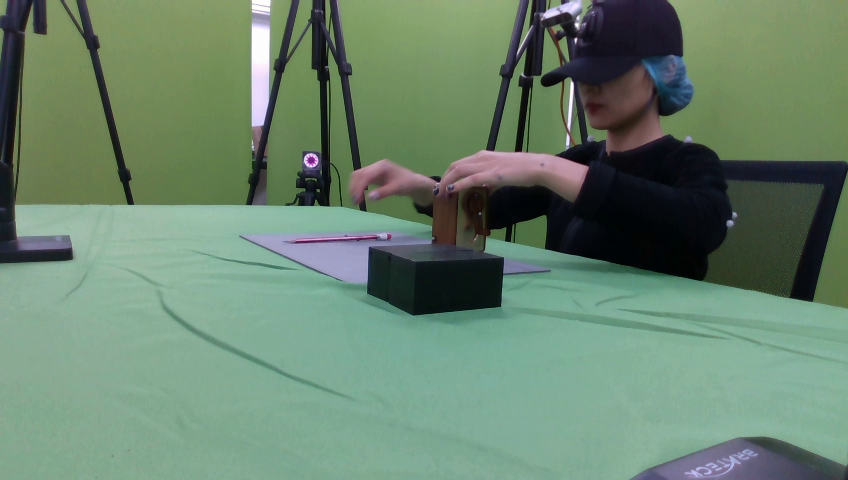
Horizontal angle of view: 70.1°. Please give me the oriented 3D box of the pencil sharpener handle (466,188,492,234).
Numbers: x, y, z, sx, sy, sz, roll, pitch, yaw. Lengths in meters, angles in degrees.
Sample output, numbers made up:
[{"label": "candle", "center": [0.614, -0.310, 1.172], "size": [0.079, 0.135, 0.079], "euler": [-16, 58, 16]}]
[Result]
[{"label": "pencil sharpener handle", "center": [0.087, -0.042, 0.900], "size": [0.036, 0.068, 0.030], "euler": [-14, 15, -28]}]

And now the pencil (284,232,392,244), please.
[{"label": "pencil", "center": [-0.139, -0.002, 1.003], "size": [0.195, 0.012, 0.012], "euler": [-5, 9, -32]}]

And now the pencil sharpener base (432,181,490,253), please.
[{"label": "pencil sharpener base", "center": [0.058, -0.037, 0.944], "size": [0.062, 0.107, 0.076], "euler": [-1, 8, -31]}]
